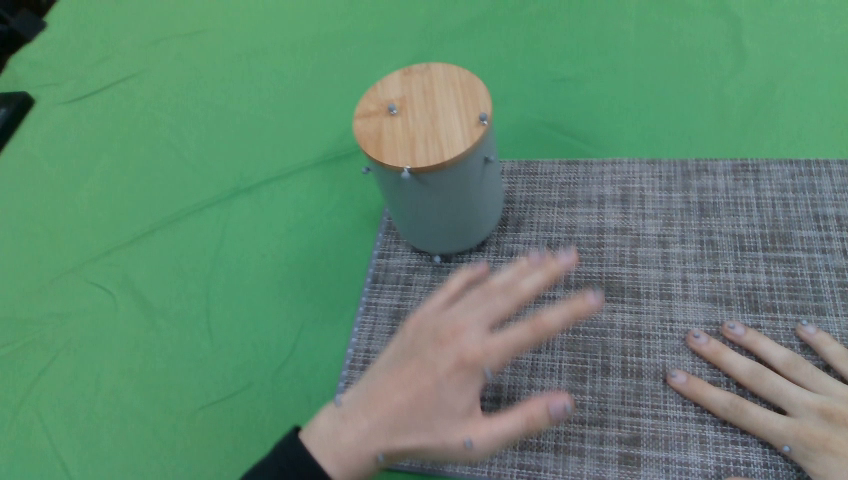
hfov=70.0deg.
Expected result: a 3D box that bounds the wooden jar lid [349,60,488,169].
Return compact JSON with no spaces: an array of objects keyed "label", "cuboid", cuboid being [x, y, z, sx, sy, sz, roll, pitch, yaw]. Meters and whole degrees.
[{"label":"wooden jar lid","cuboid":[-0.003,-0.095,0.468,0.108,0.021,0.107,-4,59,7]}]

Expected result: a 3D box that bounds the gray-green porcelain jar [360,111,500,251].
[{"label":"gray-green porcelain jar","cuboid":[0.009,-0.060,0.518,0.106,0.128,0.105,-6,55,9]}]
